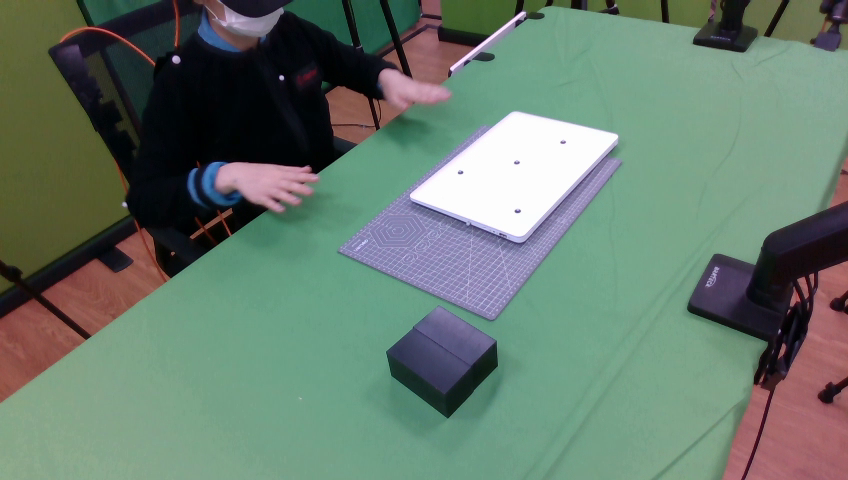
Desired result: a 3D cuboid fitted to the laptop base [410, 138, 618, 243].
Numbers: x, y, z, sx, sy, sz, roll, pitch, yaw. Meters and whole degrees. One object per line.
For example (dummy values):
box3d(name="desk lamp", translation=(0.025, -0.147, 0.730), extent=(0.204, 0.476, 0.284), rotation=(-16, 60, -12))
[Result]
box3d(name="laptop base", translation=(0.170, -0.126, 1.096), extent=(0.233, 0.023, 0.355), rotation=(21, 47, 33))

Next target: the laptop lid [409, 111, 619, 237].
box3d(name="laptop lid", translation=(0.168, -0.136, 1.089), extent=(0.239, 0.013, 0.358), rotation=(23, 48, 34))
